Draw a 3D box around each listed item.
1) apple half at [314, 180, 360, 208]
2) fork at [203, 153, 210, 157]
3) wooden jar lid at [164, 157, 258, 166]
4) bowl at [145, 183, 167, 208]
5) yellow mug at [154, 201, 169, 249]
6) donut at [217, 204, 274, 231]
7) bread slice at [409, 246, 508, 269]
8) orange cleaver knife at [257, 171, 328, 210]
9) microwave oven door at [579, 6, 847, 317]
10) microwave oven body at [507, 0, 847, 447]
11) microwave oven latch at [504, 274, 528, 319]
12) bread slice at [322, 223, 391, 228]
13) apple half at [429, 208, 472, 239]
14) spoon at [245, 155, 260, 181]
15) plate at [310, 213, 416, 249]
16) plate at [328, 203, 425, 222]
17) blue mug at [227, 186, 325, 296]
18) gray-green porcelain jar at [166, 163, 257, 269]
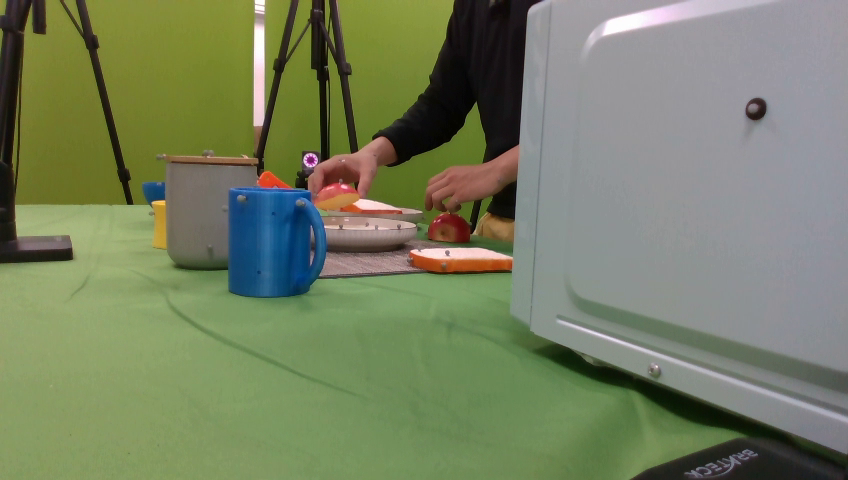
[{"bbox_3d":[-0.147,-0.081,1.014,0.081,0.032,0.081,-17,-9,-2],"label":"apple half"},{"bbox_3d":[-0.480,-0.136,1.411,0.028,0.018,0.207,0,-34,-1],"label":"fork"},{"bbox_3d":[-0.261,-0.093,0.746,0.108,0.020,0.108,0,9,0],"label":"wooden jar lid"},{"bbox_3d":[-0.459,-0.069,1.175,0.151,0.077,0.151,3,7,0],"label":"bowl"},{"bbox_3d":[-0.337,-0.022,0.899,0.130,0.064,0.100,8,9,34],"label":"yellow mug"},{"bbox_3d":[-0.318,-0.038,1.080,0.099,0.048,0.099,3,7,0],"label":"donut"},{"bbox_3d":[0.048,0.022,0.816,0.132,0.019,0.104,0,7,-24],"label":"bread slice"},{"bbox_3d":[-0.283,-0.087,1.343,0.212,0.077,0.012,24,-16,-41],"label":"orange cleaver knife"},{"bbox_3d":[0.294,-0.067,0.570,0.358,0.243,0.039,-3,9,-31],"label":"microwave oven door"},{"bbox_3d":[0.331,-0.042,0.425,0.444,0.260,0.324,-2,8,-31],"label":"microwave oven body"},{"bbox_3d":[0.100,0.041,0.470,0.079,0.029,0.030,-1,7,-27],"label":"microwave oven latch"},{"bbox_3d":[-0.116,-0.014,0.974,0.135,0.018,0.106,-6,11,-42],"label":"bread slice"},{"bbox_3d":[0.048,-0.032,1.117,0.080,0.053,0.075,5,10,23],"label":"apple half"},{"bbox_3d":[-0.421,-0.150,1.540,0.042,0.021,0.193,-5,55,-37],"label":"spoon"},{"bbox_3d":[-0.116,-0.014,0.968,0.208,0.039,0.207,2,8,0],"label":"plate"},{"bbox_3d":[-0.102,-0.053,1.299,0.209,0.038,0.209,2,8,0],"label":"plate"},{"bbox_3d":[-0.147,0.000,0.618,0.116,0.106,0.083,7,9,32],"label":"blue mug"},{"bbox_3d":[-0.263,-0.031,0.754,0.106,0.126,0.106,2,7,0],"label":"gray-green porcelain jar"}]
